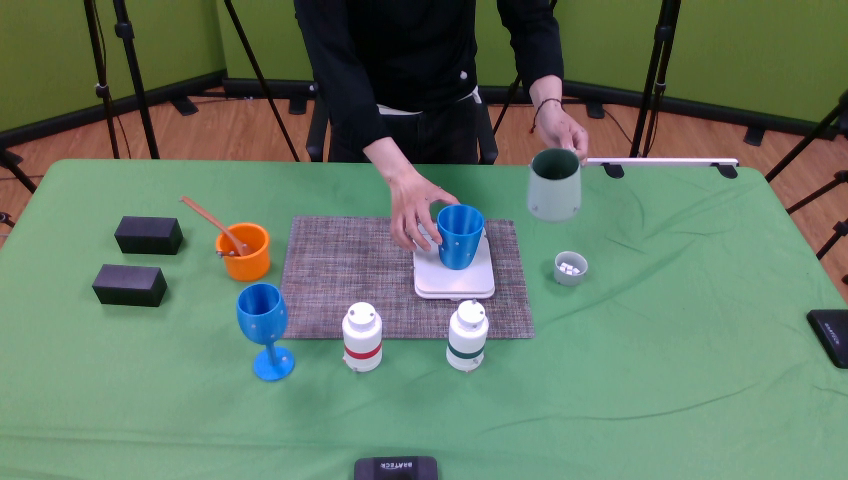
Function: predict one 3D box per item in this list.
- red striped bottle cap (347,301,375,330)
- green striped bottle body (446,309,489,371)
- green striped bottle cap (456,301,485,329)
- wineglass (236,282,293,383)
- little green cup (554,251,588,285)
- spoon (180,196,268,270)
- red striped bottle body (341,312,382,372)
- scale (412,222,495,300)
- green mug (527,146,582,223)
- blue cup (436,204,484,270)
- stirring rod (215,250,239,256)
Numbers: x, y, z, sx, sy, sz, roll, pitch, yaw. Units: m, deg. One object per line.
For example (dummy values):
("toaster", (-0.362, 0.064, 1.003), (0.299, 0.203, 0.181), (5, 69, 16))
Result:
("red striped bottle cap", (-0.097, 0.116, 0.934), (0.044, 0.018, 0.044), (2, 49, -2))
("green striped bottle body", (0.070, 0.155, 0.984), (0.063, 0.120, 0.063), (2, 46, -2))
("green striped bottle cap", (0.073, 0.116, 0.943), (0.044, 0.020, 0.044), (2, 46, -2))
("wineglass", (-0.243, 0.143, 0.934), (0.074, 0.173, 0.073), (2, 46, -2))
("little green cup", (0.276, 0.055, 1.151), (0.061, 0.039, 0.061), (1, 46, -1))
("spoon", (-0.360, -0.014, 1.094), (0.021, 0.194, 0.041), (-28, 26, 31))
("red striped bottle body", (-0.100, 0.154, 0.972), (0.063, 0.120, 0.062), (2, 46, -1))
("scale", (0.053, 0.031, 1.158), (0.149, 0.032, 0.199), (1, 46, -4))
("green mug", (0.226, -0.102, 1.019), (0.092, 0.105, 0.125), (21, 57, 24))
("blue cup", (0.062, 0.000, 1.099), (0.093, 0.101, 0.092), (2, 44, -2))
("stirring rod", (-0.340, 0.024, 1.059), (0.014, 0.176, 0.006), (18, 86, -6))
